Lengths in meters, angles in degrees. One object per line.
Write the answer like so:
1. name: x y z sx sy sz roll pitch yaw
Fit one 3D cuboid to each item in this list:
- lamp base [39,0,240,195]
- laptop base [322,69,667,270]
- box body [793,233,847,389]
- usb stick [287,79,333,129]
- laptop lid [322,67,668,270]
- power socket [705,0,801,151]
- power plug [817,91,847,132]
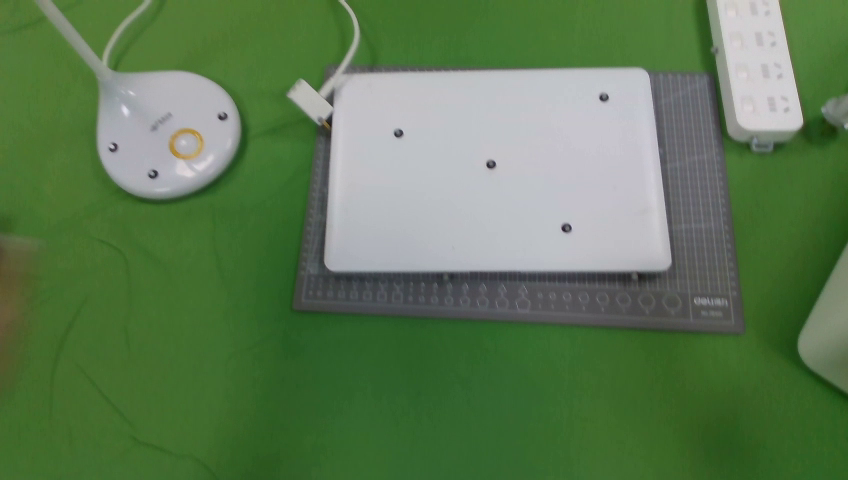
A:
1. lamp base: -0.304 -0.157 0.620 0.178 0.181 0.160 29 73 16
2. laptop base: 0.072 -0.079 0.659 0.354 0.023 0.234 0 73 3
3. box body: 0.535 0.014 0.526 0.253 0.161 0.363 34 75 14
4. usb stick: -0.122 -0.150 0.675 0.027 0.060 0.021 -47 29 -5
5. laptop lid: 0.071 -0.081 0.647 0.356 0.013 0.240 1 72 3
6. power socket: 0.369 -0.208 0.685 0.072 0.033 0.225 2 69 2
7. power plug: 0.458 -0.143 0.653 0.073 0.053 0.035 -21 66 -22
